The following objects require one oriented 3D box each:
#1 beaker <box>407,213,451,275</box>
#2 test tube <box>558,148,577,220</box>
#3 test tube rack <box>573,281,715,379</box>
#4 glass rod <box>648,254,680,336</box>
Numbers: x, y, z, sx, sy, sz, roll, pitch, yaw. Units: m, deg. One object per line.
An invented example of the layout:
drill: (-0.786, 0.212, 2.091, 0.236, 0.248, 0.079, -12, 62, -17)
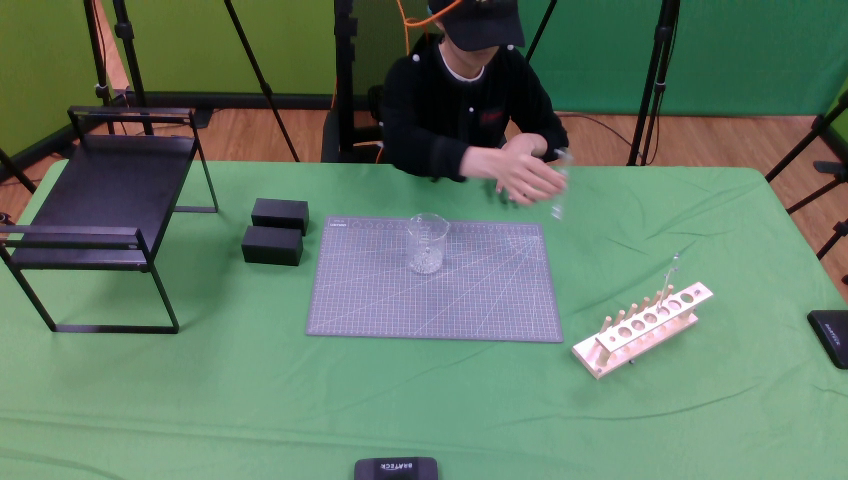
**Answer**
beaker: (0.008, 0.009, 1.129, 0.084, 0.101, 0.073, -11, 48, -15)
test tube: (0.234, -0.087, 0.992, 0.017, 0.151, 0.017, -3, 48, 3)
test tube rack: (0.378, 0.140, 1.038, 0.242, 0.085, 0.066, -22, 51, -22)
glass rod: (0.391, 0.094, 0.991, 0.008, 0.201, 0.008, -1, 44, 2)
